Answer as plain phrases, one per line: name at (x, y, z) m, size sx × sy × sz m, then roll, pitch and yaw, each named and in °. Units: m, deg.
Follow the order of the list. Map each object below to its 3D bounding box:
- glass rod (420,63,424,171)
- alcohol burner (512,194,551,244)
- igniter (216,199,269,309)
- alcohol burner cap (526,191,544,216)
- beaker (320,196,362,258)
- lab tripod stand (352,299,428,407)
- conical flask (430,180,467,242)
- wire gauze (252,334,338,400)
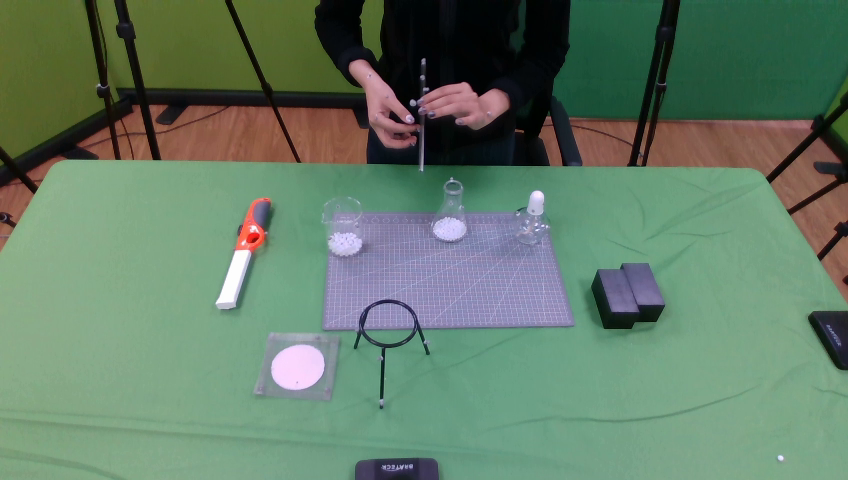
glass rod at (-0.004, -0.219, 1.077) m, size 0.008 × 0.008 × 0.199 m, roll 0°, pitch 83°, yaw -3°
alcohol burner at (0.215, -0.048, 1.196) m, size 0.078 × 0.119 × 0.077 m, roll 4°, pitch 46°, yaw -4°
igniter at (-0.342, 0.016, 1.153) m, size 0.057 × 0.025 × 0.275 m, roll -3°, pitch 45°, yaw 7°
alcohol burner cap at (0.216, -0.073, 1.170) m, size 0.034 × 0.048 × 0.033 m, roll 0°, pitch 42°, yaw 0°
beaker at (-0.156, -0.021, 1.150) m, size 0.084 × 0.101 × 0.073 m, roll -30°, pitch 55°, yaw -28°
lab tripod stand at (-0.056, 0.166, 0.958) m, size 0.148 × 0.132 × 0.147 m, roll 3°, pitch 44°, yaw -2°
conical flask at (0.052, -0.060, 1.188) m, size 0.075 × 0.122 × 0.075 m, roll 2°, pitch 46°, yaw -2°
wire gauze at (-0.209, 0.204, 0.996) m, size 0.125 × 0.011 × 0.120 m, roll 3°, pitch 45°, yaw 1°
